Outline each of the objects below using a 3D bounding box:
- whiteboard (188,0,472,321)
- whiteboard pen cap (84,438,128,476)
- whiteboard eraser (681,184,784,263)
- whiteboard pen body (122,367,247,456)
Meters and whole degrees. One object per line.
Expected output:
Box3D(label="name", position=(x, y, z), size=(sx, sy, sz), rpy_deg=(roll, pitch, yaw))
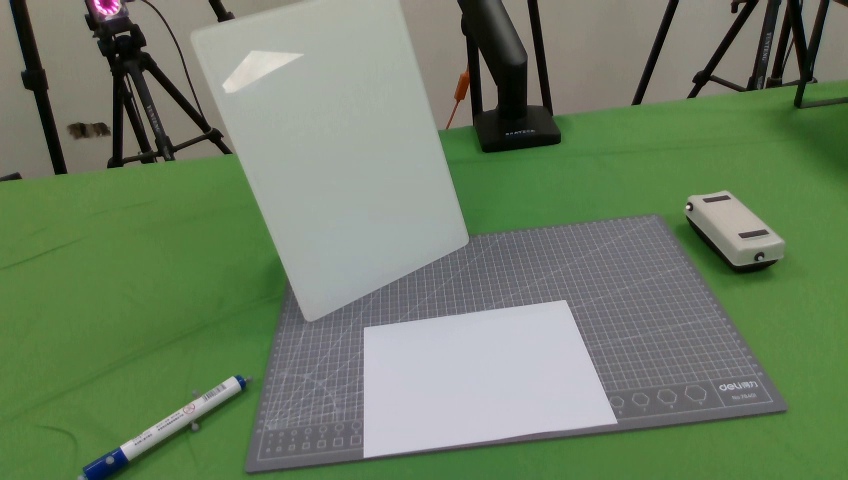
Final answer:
Box3D(label="whiteboard", position=(-0.109, -0.105, 0.686), size=(0.217, 0.307, 0.143), rpy_deg=(-26, 19, -23))
Box3D(label="whiteboard pen cap", position=(-0.265, 0.181, 0.507), size=(0.033, 0.018, 0.018), rpy_deg=(-32, 43, -32))
Box3D(label="whiteboard eraser", position=(0.335, -0.019, 0.665), size=(0.055, 0.042, 0.111), rpy_deg=(-12, 37, -3))
Box3D(label="whiteboard pen body", position=(-0.222, 0.156, 0.538), size=(0.141, 0.017, 0.017), rpy_deg=(-32, 43, -31))
